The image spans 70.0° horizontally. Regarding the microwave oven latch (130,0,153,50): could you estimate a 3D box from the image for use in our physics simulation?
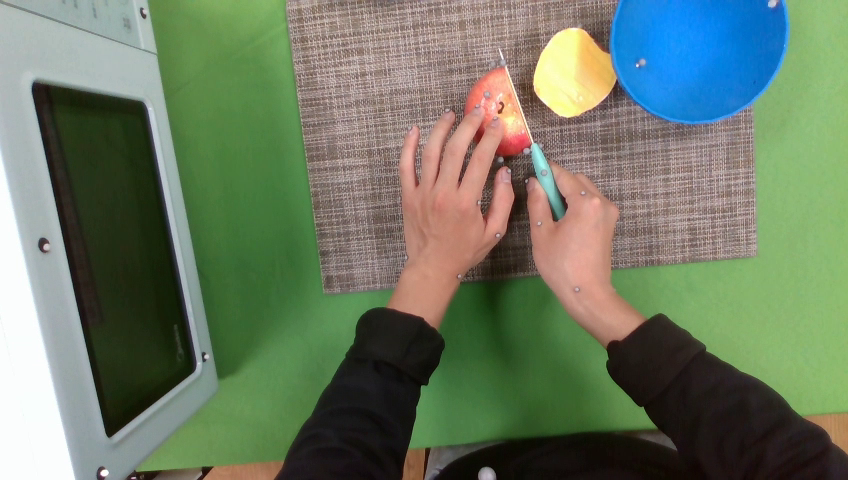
[{"bbox_3d":[-0.287,-0.224,0.583,0.030,0.029,0.079,-7,99,4],"label":"microwave oven latch"}]

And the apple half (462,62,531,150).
[{"bbox_3d":[0.064,-0.121,0.576,0.053,0.074,0.081,-21,101,14],"label":"apple half"}]

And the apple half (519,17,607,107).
[{"bbox_3d":[0.129,-0.166,0.578,0.081,0.032,0.081,2,103,8],"label":"apple half"}]

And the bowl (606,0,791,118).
[{"bbox_3d":[0.235,-0.186,0.552,0.151,0.076,0.151,1,99,4],"label":"bowl"}]

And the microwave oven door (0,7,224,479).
[{"bbox_3d":[-0.265,0.006,0.516,0.039,0.243,0.356,-8,98,5],"label":"microwave oven door"}]

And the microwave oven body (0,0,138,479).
[{"bbox_3d":[-0.416,-0.018,0.526,0.326,0.259,0.443,-8,99,4],"label":"microwave oven body"}]

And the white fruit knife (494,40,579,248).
[{"bbox_3d":[0.104,-0.087,0.567,0.016,0.027,0.208,-22,97,9],"label":"white fruit knife"}]
